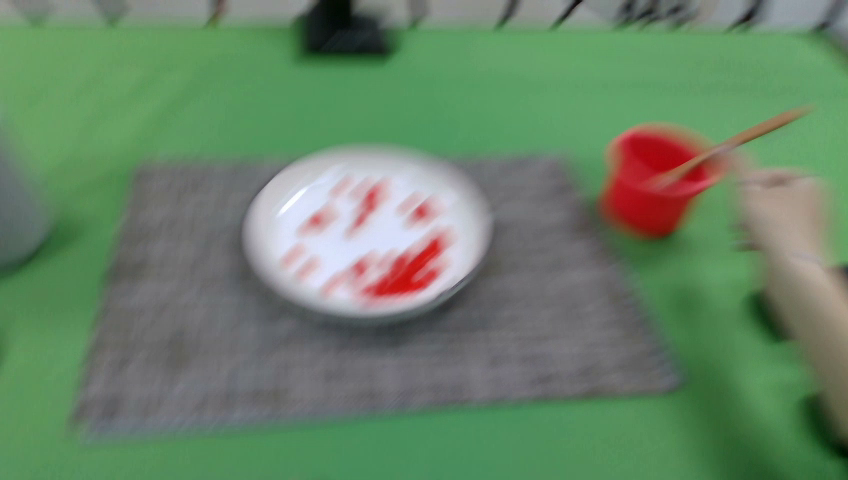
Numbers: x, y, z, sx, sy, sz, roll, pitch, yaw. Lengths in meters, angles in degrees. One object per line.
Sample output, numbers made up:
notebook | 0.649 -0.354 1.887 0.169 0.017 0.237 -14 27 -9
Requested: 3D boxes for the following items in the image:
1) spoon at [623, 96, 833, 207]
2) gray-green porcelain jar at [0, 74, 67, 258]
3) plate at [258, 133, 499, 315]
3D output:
spoon | 0.281 -0.082 0.570 0.193 0.022 0.041 -30 44 27
gray-green porcelain jar | -0.358 -0.055 0.483 0.106 0.127 0.105 4 49 -4
plate | -0.039 -0.016 0.540 0.208 0.039 0.205 4 49 -4
